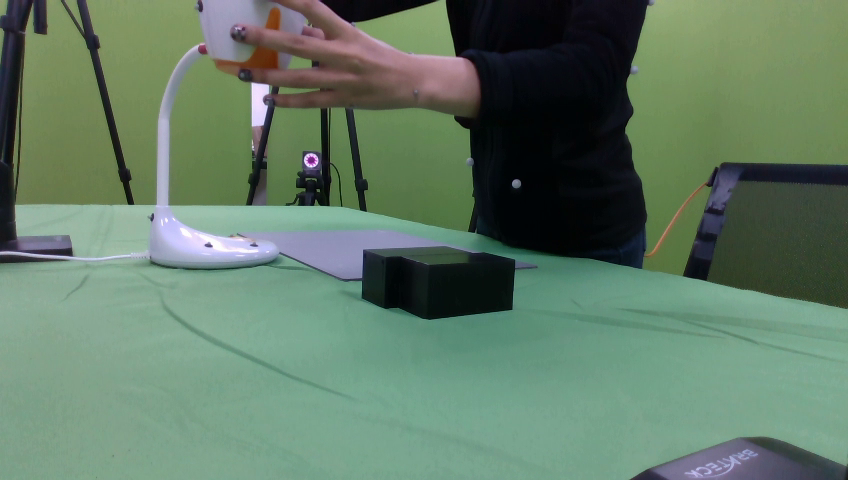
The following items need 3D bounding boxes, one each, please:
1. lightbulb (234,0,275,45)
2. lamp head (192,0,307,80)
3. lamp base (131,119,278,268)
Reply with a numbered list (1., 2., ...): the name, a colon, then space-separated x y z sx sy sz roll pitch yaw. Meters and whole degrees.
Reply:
1. lightbulb: -0.158 -0.238 0.569 0.059 0.107 0.059 8 0 0
2. lamp head: -0.168 -0.214 0.571 0.112 0.123 0.112 9 9 -1
3. lamp base: -0.279 -0.061 0.770 0.160 0.180 0.180 9 13 44
